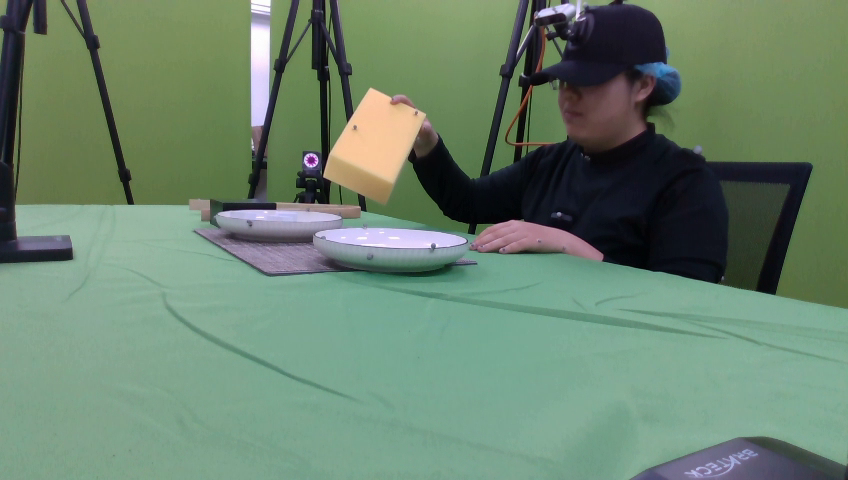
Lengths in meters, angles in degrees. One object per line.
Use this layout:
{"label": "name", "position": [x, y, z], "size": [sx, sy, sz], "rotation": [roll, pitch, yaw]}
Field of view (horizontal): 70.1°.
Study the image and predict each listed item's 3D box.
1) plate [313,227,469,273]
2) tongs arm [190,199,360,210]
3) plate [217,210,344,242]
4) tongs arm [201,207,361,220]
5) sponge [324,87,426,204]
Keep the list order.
{"label": "plate", "position": [-0.044, 0.012, 0.807], "size": [0.209, 0.038, 0.209], "rotation": [2, 7, 0]}
{"label": "tongs arm", "position": [-0.341, -0.075, 1.419], "size": [0.387, 0.026, 0.050], "rotation": [0, 8, -25]}
{"label": "plate", "position": [-0.241, -0.024, 1.026], "size": [0.208, 0.039, 0.207], "rotation": [3, 7, 0]}
{"label": "tongs arm", "position": [-0.302, -0.060, 1.350], "size": [0.390, 0.028, 0.028], "rotation": [-3, 7, -38]}
{"label": "sponge", "position": [-0.082, -0.172, 1.079], "size": [0.118, 0.061, 0.207], "rotation": [24, 48, -4]}
